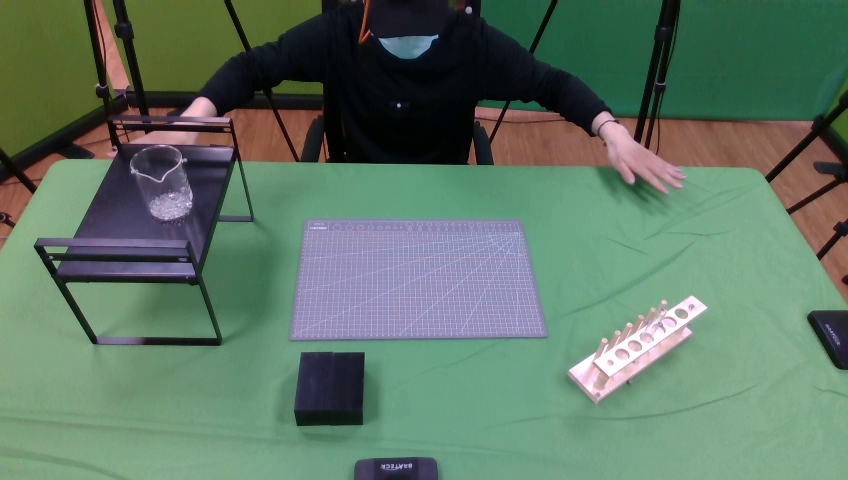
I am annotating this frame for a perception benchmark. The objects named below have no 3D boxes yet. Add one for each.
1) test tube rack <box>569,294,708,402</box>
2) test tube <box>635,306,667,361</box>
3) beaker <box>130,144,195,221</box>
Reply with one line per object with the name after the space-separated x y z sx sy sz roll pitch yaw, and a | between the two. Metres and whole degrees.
0.360 0.167 1.014 0.242 0.085 0.066 -25 53 -25 | test tube rack
0.356 0.151 0.961 0.017 0.151 0.017 0 51 0 | test tube
-0.403 -0.085 0.944 0.074 0.101 0.083 -15 49 -17 | beaker
